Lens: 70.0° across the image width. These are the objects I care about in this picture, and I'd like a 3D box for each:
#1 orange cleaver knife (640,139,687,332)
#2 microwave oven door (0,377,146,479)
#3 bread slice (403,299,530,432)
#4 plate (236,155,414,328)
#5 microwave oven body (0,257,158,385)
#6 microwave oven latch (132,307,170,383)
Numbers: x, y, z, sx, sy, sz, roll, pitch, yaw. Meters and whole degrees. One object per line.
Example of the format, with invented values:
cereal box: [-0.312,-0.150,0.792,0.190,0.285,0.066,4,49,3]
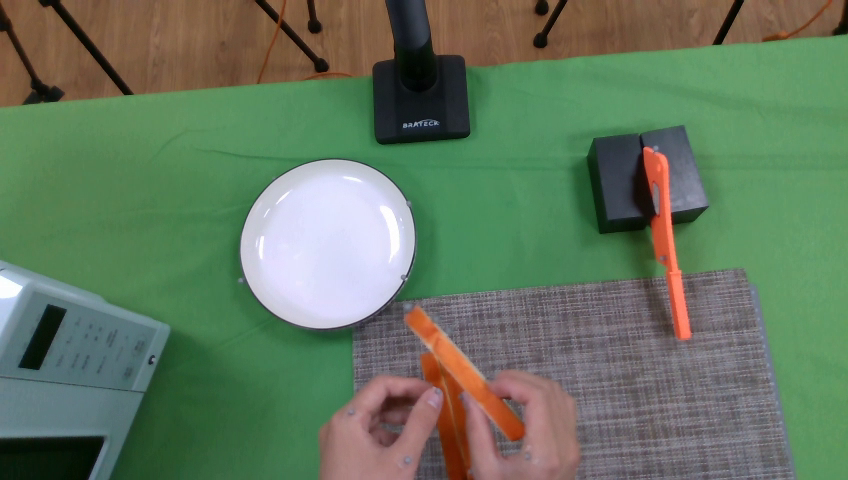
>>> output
orange cleaver knife: [0.258,-0.007,0.661,0.012,0.077,0.211,-9,94,4]
microwave oven door: [-0.390,0.291,0.528,0.039,0.245,0.354,15,76,10]
bread slice: [0.033,0.104,0.514,0.018,0.107,0.134,-43,87,-5]
plate: [-0.113,0.002,0.712,0.207,0.039,0.206,-1,74,4]
microwave oven body: [-0.516,0.215,0.565,0.325,0.261,0.440,16,77,8]
microwave oven latch: [-0.313,0.118,0.677,0.030,0.029,0.079,18,77,9]
